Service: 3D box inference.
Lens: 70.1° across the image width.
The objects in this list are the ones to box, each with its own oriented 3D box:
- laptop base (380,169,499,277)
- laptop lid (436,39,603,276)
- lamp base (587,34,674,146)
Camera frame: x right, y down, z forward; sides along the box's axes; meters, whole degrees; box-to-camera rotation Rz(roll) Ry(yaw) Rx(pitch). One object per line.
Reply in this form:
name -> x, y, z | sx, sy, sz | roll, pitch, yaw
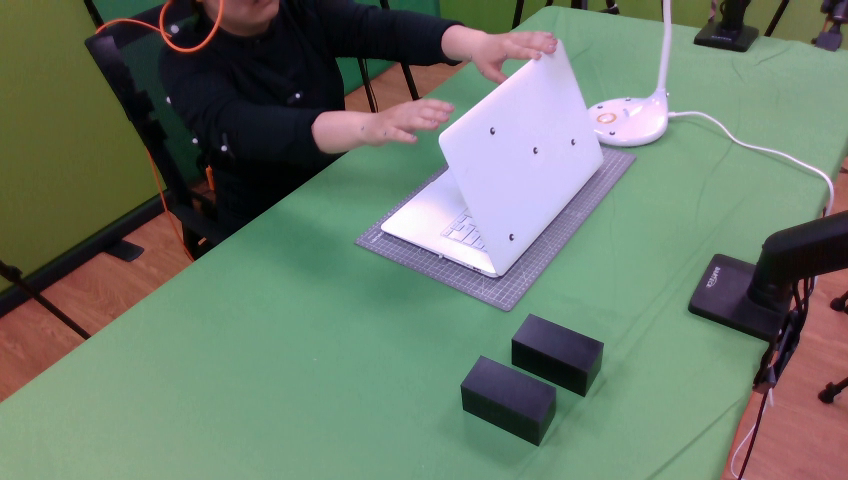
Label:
laptop base -> 0.122, -0.077, 1.043 | 0.233, 0.023, 0.355 | 20, 47, 33
laptop lid -> 0.168, -0.138, 0.932 | 0.013, 0.243, 0.358 | -1, 32, 47
lamp base -> 0.392, -0.291, 1.129 | 0.180, 0.181, 0.159 | -11, 41, -8
